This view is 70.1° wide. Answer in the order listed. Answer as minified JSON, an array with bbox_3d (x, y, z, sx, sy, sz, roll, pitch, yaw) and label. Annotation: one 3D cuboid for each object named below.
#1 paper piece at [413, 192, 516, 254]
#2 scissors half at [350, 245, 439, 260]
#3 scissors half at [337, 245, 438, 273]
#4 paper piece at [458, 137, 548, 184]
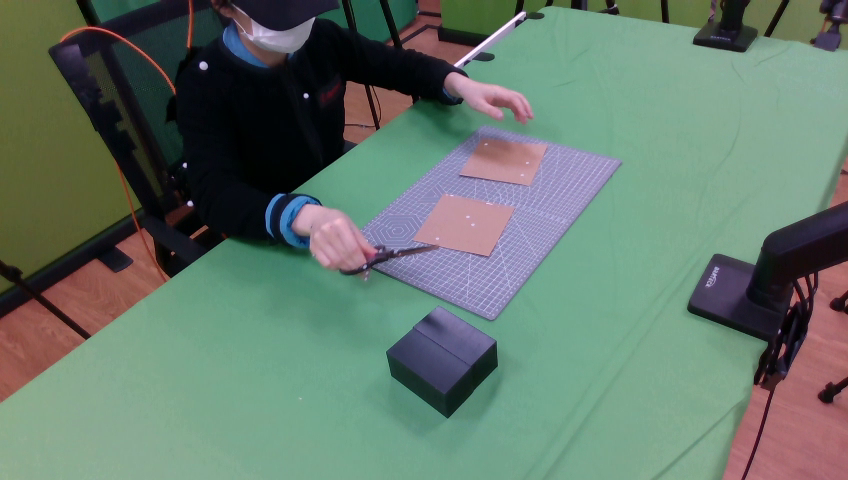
[{"bbox_3d":[0.068,-0.030,1.000,0.134,0.004,0.136,12,44,23],"label":"paper piece"},{"bbox_3d":[-0.042,0.017,0.836,0.174,0.013,0.040,-8,20,47],"label":"scissors half"},{"bbox_3d":[-0.052,0.024,0.821,0.174,0.013,0.040,-15,11,32],"label":"scissors half"},{"bbox_3d":[0.150,-0.152,1.130,0.135,0.009,0.138,15,43,17],"label":"paper piece"}]
